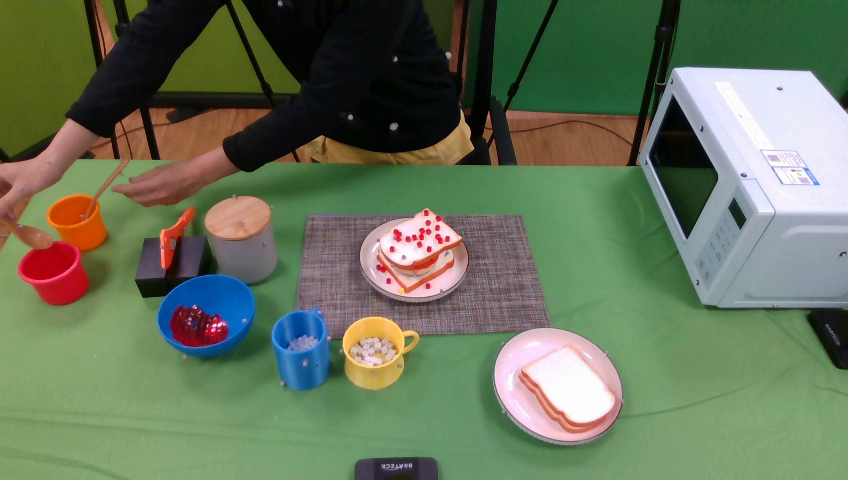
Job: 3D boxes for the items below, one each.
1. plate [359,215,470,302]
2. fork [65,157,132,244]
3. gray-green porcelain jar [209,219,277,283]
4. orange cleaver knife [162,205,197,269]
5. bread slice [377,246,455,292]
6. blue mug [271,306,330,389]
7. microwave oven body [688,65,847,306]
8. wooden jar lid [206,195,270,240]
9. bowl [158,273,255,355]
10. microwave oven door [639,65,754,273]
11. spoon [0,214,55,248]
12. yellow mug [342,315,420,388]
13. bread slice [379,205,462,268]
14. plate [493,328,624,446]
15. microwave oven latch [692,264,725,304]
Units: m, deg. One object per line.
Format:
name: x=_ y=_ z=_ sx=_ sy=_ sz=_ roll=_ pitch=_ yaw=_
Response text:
plate: x=-0.019 y=0.038 z=1.140 sx=0.209 sy=0.038 sz=0.208 roll=2 pitch=46 yaw=-2
fork: x=-0.608 y=-0.074 z=1.132 sx=0.207 sy=0.019 sz=0.028 roll=-52 pitch=49 yaw=10
gray-green porcelain jar: x=-0.323 y=0.007 z=1.092 sx=0.106 sy=0.127 sz=0.105 roll=2 pitch=46 yaw=-2
orange cleaver knife: x=-0.454 y=-0.010 z=1.129 sx=0.012 sy=0.077 sz=0.210 roll=1 pitch=20 yaw=-6
bread slice: x=-0.010 y=0.034 z=1.151 sx=0.131 sy=0.019 sz=0.104 roll=-28 pitch=56 yaw=-23
blue mug: x=-0.188 y=0.163 z=0.969 sx=0.082 sy=0.106 sz=0.116 roll=15 pitch=47 yaw=10
microwave oven body: x=0.669 y=-0.111 z=1.176 sx=0.326 sy=0.261 sz=0.439 roll=0 pitch=46 yaw=-3
wooden jar lid: x=-0.319 y=-0.036 z=1.046 sx=0.108 sy=0.021 sz=0.107 roll=1 pitch=44 yaw=0
bowl: x=-0.351 y=0.136 z=1.001 sx=0.151 sy=0.077 sz=0.150 roll=2 pitch=46 yaw=-2
microwave oven door: x=0.522 y=-0.147 z=1.193 sx=0.039 sy=0.245 sz=0.353 roll=0 pitch=47 yaw=-3
spoon: x=-0.691 y=-0.040 z=0.974 sx=0.021 sy=0.195 sz=0.041 roll=-24 pitch=50 yaw=17
yellow mug: x=-0.068 y=0.177 z=0.990 sx=0.131 sy=0.064 sz=0.099 roll=-15 pitch=50 yaw=-19
bread slice: x=-0.012 y=-0.001 z=1.097 sx=0.134 sy=0.018 sz=0.106 roll=-33 pitch=51 yaw=-23
plate: x=0.213 y=0.236 z=0.974 sx=0.208 sy=0.039 sz=0.206 roll=2 pitch=46 yaw=-2
microwave oven latch: x=0.522 y=0.081 z=1.116 sx=0.030 sy=0.029 sz=0.078 roll=1 pitch=46 yaw=-2
